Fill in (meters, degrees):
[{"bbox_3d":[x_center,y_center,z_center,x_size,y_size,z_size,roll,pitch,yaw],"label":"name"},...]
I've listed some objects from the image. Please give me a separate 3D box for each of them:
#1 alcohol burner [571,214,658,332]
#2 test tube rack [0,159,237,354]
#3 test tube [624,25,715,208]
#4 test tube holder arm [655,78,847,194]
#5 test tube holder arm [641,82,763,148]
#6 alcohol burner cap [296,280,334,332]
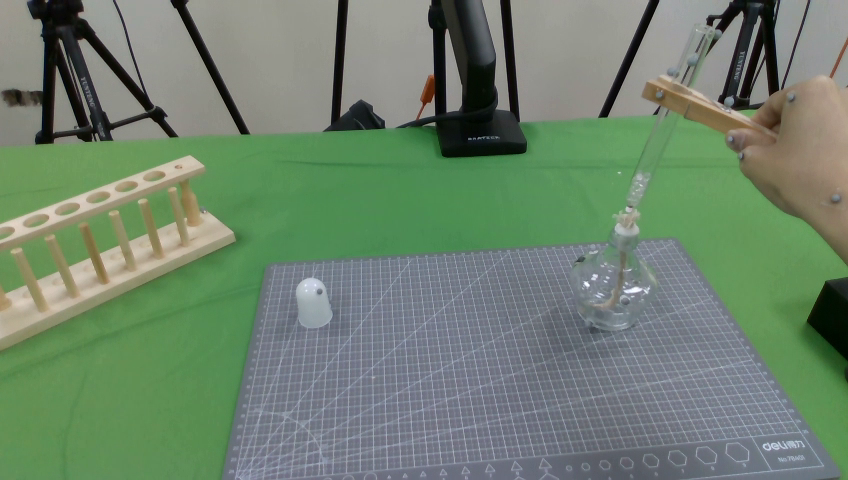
[{"bbox_3d":[0.173,0.025,0.545,0.078,0.120,0.077,0,39,0],"label":"alcohol burner"},{"bbox_3d":[-0.321,0.007,0.609,0.242,0.086,0.066,-30,45,-33],"label":"test tube rack"},{"bbox_3d":[0.181,-0.086,0.457,0.017,0.151,0.017,5,40,-4],"label":"test tube"},{"bbox_3d":[0.229,-0.068,0.408,0.013,0.015,0.176,-26,50,-30],"label":"test tube holder arm"},{"bbox_3d":[0.195,-0.089,0.428,0.087,0.015,0.010,34,49,28],"label":"test tube holder arm"},{"bbox_3d":[-0.103,0.059,0.566,0.034,0.048,0.033,0,37,1],"label":"alcohol burner cap"}]
